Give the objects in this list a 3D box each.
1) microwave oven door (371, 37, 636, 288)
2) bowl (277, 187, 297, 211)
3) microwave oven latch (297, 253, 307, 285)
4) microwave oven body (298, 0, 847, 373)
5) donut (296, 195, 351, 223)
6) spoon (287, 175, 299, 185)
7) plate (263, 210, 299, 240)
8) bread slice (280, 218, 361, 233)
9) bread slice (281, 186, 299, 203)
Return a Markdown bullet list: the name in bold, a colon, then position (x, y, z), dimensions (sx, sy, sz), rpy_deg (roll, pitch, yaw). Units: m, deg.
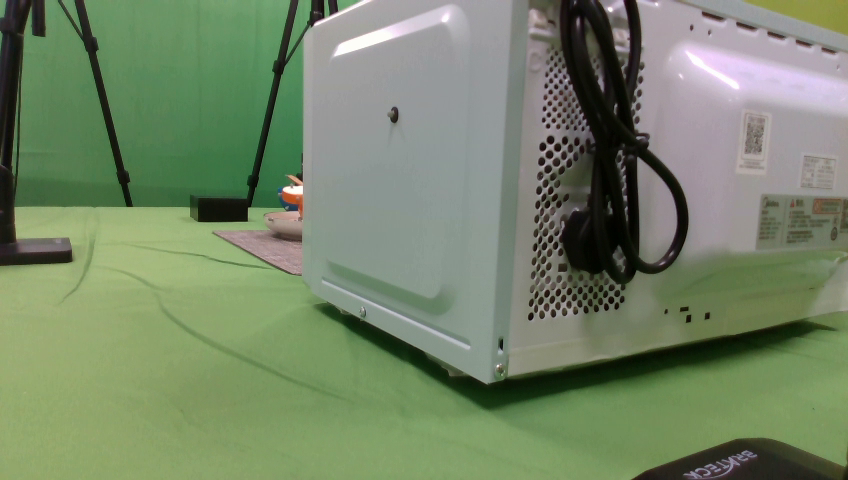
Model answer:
- **microwave oven door**: position (0.110, -0.080, 0.686), dimensions (0.358, 0.243, 0.039), rpy_deg (-2, 9, -33)
- **bowl**: position (-0.241, -0.073, 1.302), dimensions (0.151, 0.077, 0.151), rpy_deg (2, 7, 0)
- **microwave oven latch**: position (-0.082, 0.027, 0.582), dimensions (0.079, 0.029, 0.030), rpy_deg (-1, 7, -32)
- **microwave oven body**: position (0.151, -0.055, 0.542), dimensions (0.444, 0.260, 0.324), rpy_deg (-1, 7, -33)
- **donut**: position (-0.179, -0.056, 1.078), dimensions (0.099, 0.048, 0.099), rpy_deg (4, 4, 0)
- **spoon**: position (-0.262, -0.110, 1.342), dimensions (0.042, 0.021, 0.192), rpy_deg (-7, 33, -34)
- **plate**: position (-0.180, -0.026, 1.079), dimensions (0.208, 0.039, 0.207), rpy_deg (3, 7, 0)
- **bread slice**: position (-0.187, -0.026, 1.075), dimensions (0.135, 0.018, 0.106), rpy_deg (-1, 7, -22)
- **bread slice**: position (-0.185, -0.082, 1.071), dimensions (0.132, 0.019, 0.104), rpy_deg (-2, 14, -18)
